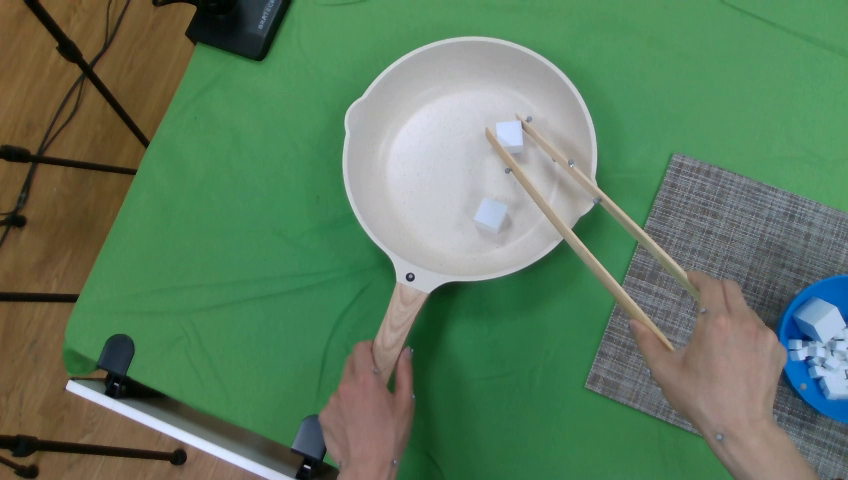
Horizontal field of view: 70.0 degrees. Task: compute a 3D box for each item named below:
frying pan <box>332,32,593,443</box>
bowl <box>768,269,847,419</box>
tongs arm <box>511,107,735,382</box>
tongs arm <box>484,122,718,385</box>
[{"bbox_3d":[0.006,-0.006,0.693,0.306,0.103,0.486,22,75,10],"label":"frying pan"},{"bbox_3d":[0.431,0.110,0.639,0.151,0.077,0.151,-1,80,6],"label":"bowl"},{"bbox_3d":[0.176,-0.021,0.616,0.051,0.027,0.380,-32,51,-4],"label":"tongs arm"},{"bbox_3d":[0.153,-0.008,0.615,0.028,0.028,0.383,-27,51,-5],"label":"tongs arm"}]
